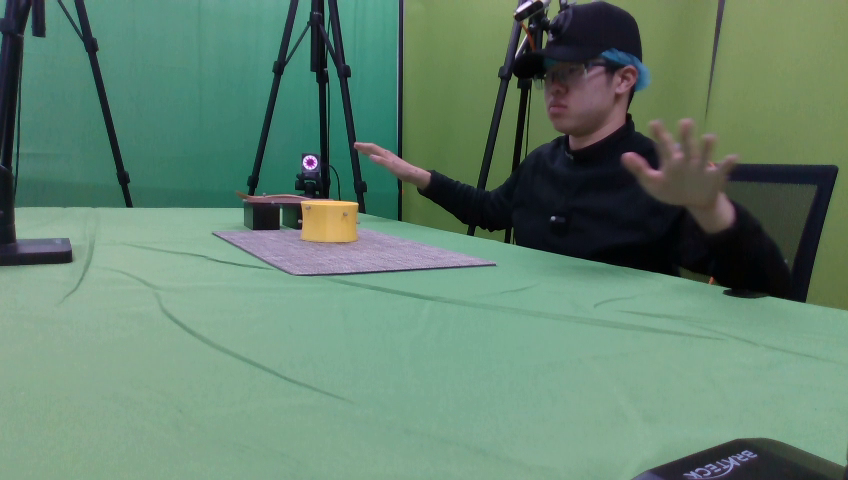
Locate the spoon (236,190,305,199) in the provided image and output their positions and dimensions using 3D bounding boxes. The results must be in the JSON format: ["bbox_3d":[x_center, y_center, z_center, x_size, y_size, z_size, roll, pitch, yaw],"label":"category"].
[{"bbox_3d":[-0.290,-0.088,1.248,0.195,0.021,0.041,0,6,-32],"label":"spoon"}]

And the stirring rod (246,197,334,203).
[{"bbox_3d":[-0.263,-0.079,1.200,0.177,0.006,0.014,-2,46,-29],"label":"stirring rod"}]

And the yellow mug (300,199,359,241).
[{"bbox_3d":[-0.157,-0.036,1.060,0.099,0.064,0.131,6,7,27],"label":"yellow mug"}]
